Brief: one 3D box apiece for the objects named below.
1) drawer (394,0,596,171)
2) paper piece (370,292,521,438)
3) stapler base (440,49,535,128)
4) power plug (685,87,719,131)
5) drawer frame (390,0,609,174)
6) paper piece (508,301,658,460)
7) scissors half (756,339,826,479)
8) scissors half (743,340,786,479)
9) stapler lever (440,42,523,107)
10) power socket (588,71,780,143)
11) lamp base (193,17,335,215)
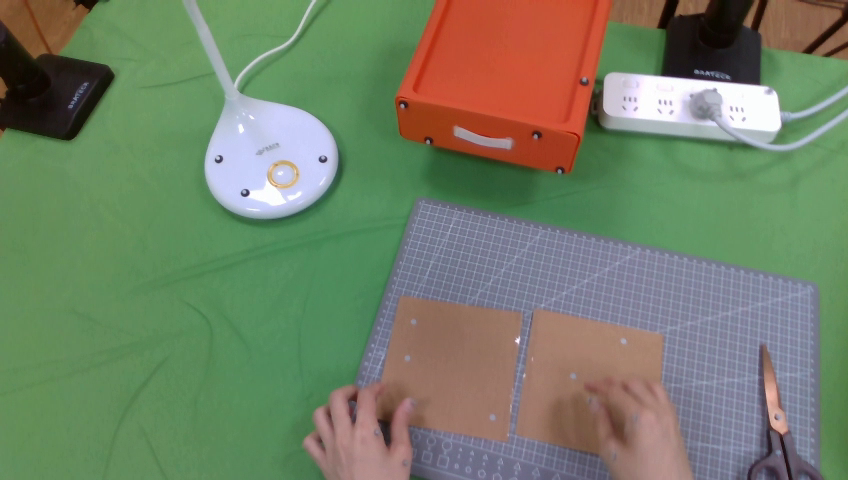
[{"bbox_3d":[0.091,-0.198,0.696,0.194,0.074,0.210,14,64,10],"label":"drawer"},{"bbox_3d":[0.024,0.124,0.623,0.136,0.009,0.137,7,65,10],"label":"paper piece"},{"bbox_3d":[0.072,-0.182,0.708,0.041,0.024,0.129,-46,66,-2],"label":"stapler base"},{"bbox_3d":[0.323,-0.148,0.712,0.035,0.053,0.072,17,65,11],"label":"power plug"},{"bbox_3d":[0.090,-0.201,0.697,0.201,0.083,0.212,14,64,10],"label":"drawer frame"},{"bbox_3d":[0.163,0.137,0.610,0.135,0.004,0.135,13,64,9],"label":"paper piece"},{"bbox_3d":[0.346,0.178,0.580,0.040,0.013,0.173,-3,61,0],"label":"scissors half"},{"bbox_3d":[0.326,0.177,0.581,0.040,0.013,0.174,14,61,3],"label":"scissors half"},{"bbox_3d":[0.063,-0.190,0.685,0.027,0.040,0.117,-46,66,-2],"label":"stapler lever"},{"bbox_3d":[0.319,-0.164,0.746,0.226,0.033,0.071,7,64,6],"label":"power socket"},{"bbox_3d":[-0.200,-0.143,0.673,0.160,0.182,0.177,-38,65,-16],"label":"lamp base"}]
